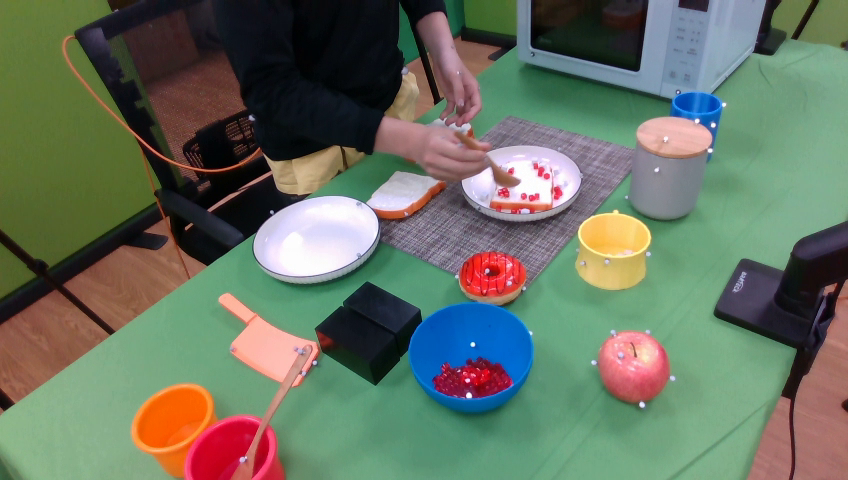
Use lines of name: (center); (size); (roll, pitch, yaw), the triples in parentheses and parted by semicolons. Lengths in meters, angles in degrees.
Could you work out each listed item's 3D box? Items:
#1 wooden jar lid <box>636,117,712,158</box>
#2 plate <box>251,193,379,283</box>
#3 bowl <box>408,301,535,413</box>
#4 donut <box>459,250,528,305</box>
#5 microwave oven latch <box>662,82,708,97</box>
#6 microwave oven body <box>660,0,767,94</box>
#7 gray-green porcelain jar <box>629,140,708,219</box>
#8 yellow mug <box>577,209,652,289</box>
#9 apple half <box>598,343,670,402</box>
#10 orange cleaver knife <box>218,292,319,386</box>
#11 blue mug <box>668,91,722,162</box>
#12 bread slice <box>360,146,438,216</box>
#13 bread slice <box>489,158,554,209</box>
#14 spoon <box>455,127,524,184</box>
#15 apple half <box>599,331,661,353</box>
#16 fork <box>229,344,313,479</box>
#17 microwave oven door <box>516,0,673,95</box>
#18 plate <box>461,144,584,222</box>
wooden jar lid: (0.377, -0.151, 0.917); (0.108, 0.021, 0.108); (-2, 42, 3)
plate: (-0.174, -0.001, 0.984); (0.209, 0.038, 0.208); (-4, 41, 4)
bowl: (0.060, 0.156, 0.739); (0.151, 0.077, 0.150); (-4, 40, 4)
donut: (0.100, 0.053, 0.873); (0.099, 0.048, 0.098); (-5, 40, 5)
microwave oven latch: (0.518, -0.298, 1.202); (0.078, 0.029, 0.030); (28, 53, 35)
microwave oven body: (0.473, -0.516, 1.313); (0.438, 0.261, 0.327); (26, 51, 34)
gray-green porcelain jar: (0.383, -0.105, 0.958); (0.106, 0.127, 0.105); (-4, 41, 4)
yellow mug: (0.279, 0.004, 0.893); (0.099, 0.064, 0.130); (5, 41, 15)
apple half: (0.247, 0.161, 0.710); (0.081, 0.075, 0.053); (2, 47, 5)
orange cleaver knife: (-0.235, 0.136, 0.850); (0.209, 0.012, 0.077); (25, 56, 30)
blue mug: (0.474, -0.207, 1.078); (0.082, 0.106, 0.116); (4, 42, 13)
bread slice: (-0.053, -0.103, 1.046); (0.106, 0.018, 0.134); (18, 66, 23)
bread slice: (0.172, -0.101, 1.046); (0.104, 0.019, 0.131); (4, 41, 11)
spoon: (0.096, -0.123, 0.897); (0.041, 0.195, 0.021); (-6, 66, 34)
apple half: (0.249, 0.134, 0.738); (0.081, 0.081, 0.032); (-1, 46, 7)
fork: (-0.173, 0.205, 0.662); (0.028, 0.019, 0.207); (29, 94, 36)
microwave oven door: (0.344, -0.458, 1.257); (0.353, 0.245, 0.039); (26, 52, 33)
plate: (0.167, -0.095, 1.040); (0.207, 0.039, 0.206); (-4, 41, 4)
